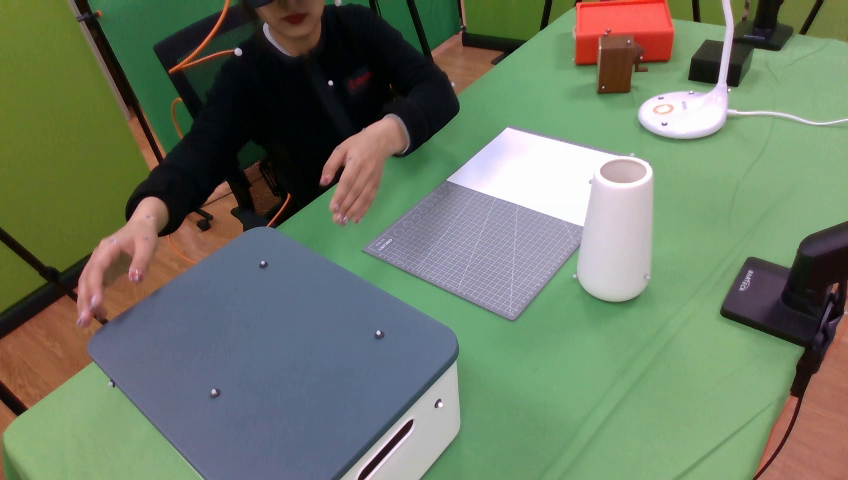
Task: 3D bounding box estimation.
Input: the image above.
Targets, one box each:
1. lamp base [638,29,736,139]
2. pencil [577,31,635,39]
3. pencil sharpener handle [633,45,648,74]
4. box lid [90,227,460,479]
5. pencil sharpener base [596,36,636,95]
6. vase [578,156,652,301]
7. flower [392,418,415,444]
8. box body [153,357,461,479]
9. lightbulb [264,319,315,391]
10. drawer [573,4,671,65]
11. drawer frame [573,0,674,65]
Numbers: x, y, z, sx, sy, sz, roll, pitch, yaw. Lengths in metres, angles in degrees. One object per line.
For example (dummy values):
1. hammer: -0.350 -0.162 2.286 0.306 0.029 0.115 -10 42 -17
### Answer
1. lamp base: 0.501 -0.302 1.125 0.179 0.181 0.160 -4 40 3
2. pencil: 0.431 -0.489 1.443 0.012 0.012 0.192 -25 30 -18
3. pencil sharpener handle: 0.454 -0.378 1.262 0.030 0.068 0.036 1 47 13
4. box lid: -0.173 0.112 0.662 0.368 0.015 0.264 25 50 35
5. pencil sharpener base: 0.406 -0.369 1.280 0.076 0.107 0.061 1 41 13
6. vase: 0.261 -0.011 0.812 0.098 0.201 0.097 -4 40 4
7. flower: -0.153 0.228 0.743 0.360 0.038 0.044 -2 44 16
8. box body: -0.162 0.170 0.708 0.361 0.161 0.255 25 50 34
9. lightbulb: -0.175 0.154 0.806 0.060 0.060 0.107 -24 58 -17
10. drawer: 0.461 -0.490 1.435 0.211 0.073 0.194 2 40 12
11. drawer frame: 0.464 -0.492 1.434 0.213 0.083 0.201 1 40 12
